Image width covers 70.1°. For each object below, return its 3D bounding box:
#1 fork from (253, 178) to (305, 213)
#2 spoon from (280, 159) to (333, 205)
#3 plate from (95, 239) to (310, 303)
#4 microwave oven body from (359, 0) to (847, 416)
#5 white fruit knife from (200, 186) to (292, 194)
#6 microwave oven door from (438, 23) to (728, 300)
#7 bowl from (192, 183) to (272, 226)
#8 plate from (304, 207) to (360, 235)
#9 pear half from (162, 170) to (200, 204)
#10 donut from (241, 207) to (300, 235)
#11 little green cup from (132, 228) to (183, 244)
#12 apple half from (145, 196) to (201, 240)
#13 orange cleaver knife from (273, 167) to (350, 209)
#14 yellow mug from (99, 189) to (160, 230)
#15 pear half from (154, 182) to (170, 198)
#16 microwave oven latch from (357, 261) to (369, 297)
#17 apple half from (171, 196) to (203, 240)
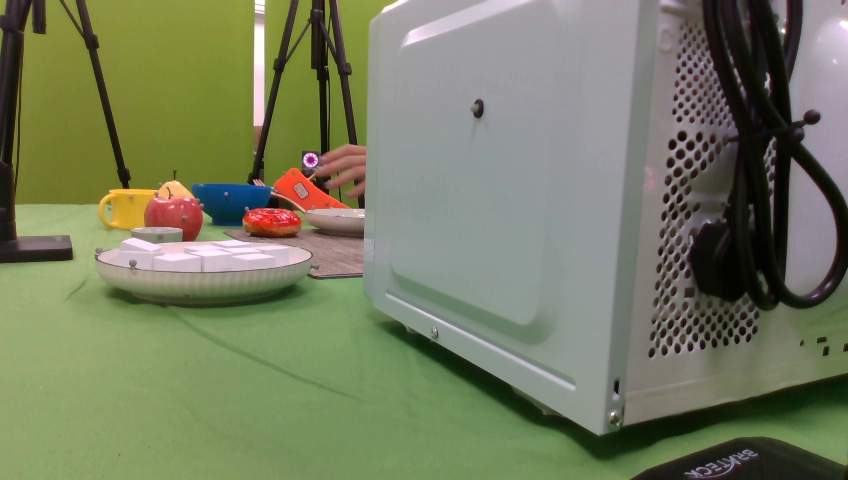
[{"bbox_3d":[-0.294,-0.084,1.293,0.206,0.018,0.028,29,12,26],"label":"fork"},{"bbox_3d":[-0.316,-0.159,1.639,0.194,0.022,0.041,-49,31,-20],"label":"spoon"},{"bbox_3d":[-0.224,0.031,0.629,0.208,0.039,0.207,2,8,0],"label":"plate"},{"bbox_3d":[0.211,-0.047,0.474,0.444,0.260,0.324,-1,7,-28],"label":"microwave oven body"},{"bbox_3d":[-0.399,-0.111,1.368,0.208,0.016,0.027,-4,-19,-29],"label":"white fruit knife"},{"bbox_3d":[0.181,-0.072,0.621,0.358,0.243,0.039,-2,8,-29],"label":"microwave oven door"},{"bbox_3d":[-0.381,-0.071,1.202,0.151,0.077,0.151,3,7,0],"label":"bowl"},{"bbox_3d":[-0.123,-0.037,1.149,0.209,0.038,0.209,2,7,0],"label":"plate"},{"bbox_3d":[-0.399,-0.061,1.002,0.056,0.110,0.076,2,12,1],"label":"pear half"},{"bbox_3d":[-0.263,-0.032,1.039,0.099,0.048,0.099,4,9,0],"label":"donut"},{"bbox_3d":[-0.342,0.006,0.779,0.061,0.038,0.061,2,8,0],"label":"little green cup"},{"bbox_3d":[-0.377,-0.027,0.891,0.080,0.074,0.053,8,12,18],"label":"apple half"},{"bbox_3d":[-0.237,-0.087,1.358,0.211,0.077,0.012,32,4,-3],"label":"orange cleaver knife"},{"bbox_3d":[-0.518,-0.055,1.080,0.099,0.064,0.131,7,10,26],"label":"yellow mug"},{"bbox_3d":[-0.435,-0.053,1.006,0.031,0.088,0.070,3,12,0],"label":"pear half"},{"bbox_3d":[-0.019,0.033,0.531,0.079,0.029,0.030,-1,7,-27],"label":"microwave oven latch"},{"bbox_3d":[-0.365,-0.032,0.928,0.081,0.081,0.033,5,12,18],"label":"apple half"}]
